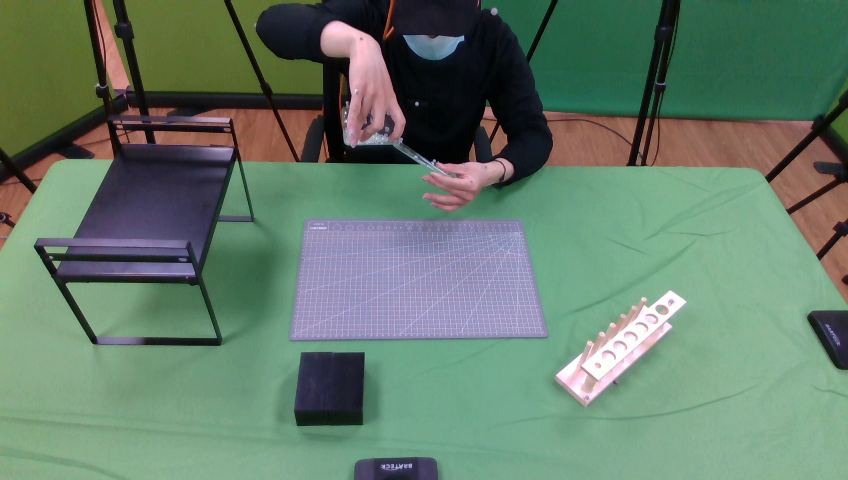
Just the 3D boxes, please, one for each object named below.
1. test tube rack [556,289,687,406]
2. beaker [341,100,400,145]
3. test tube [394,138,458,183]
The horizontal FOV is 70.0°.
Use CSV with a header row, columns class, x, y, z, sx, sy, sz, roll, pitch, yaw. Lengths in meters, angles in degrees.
class,x,y,z,sx,sy,sz,roll,pitch,yaw
test tube rack,0.332,0.165,1.014,0.242,0.085,0.066,-30,55,-28
beaker,-0.094,-0.204,1.073,0.100,0.084,0.073,-3,41,-6
test tube,0.006,-0.148,1.139,0.151,0.017,0.017,29,39,-29
